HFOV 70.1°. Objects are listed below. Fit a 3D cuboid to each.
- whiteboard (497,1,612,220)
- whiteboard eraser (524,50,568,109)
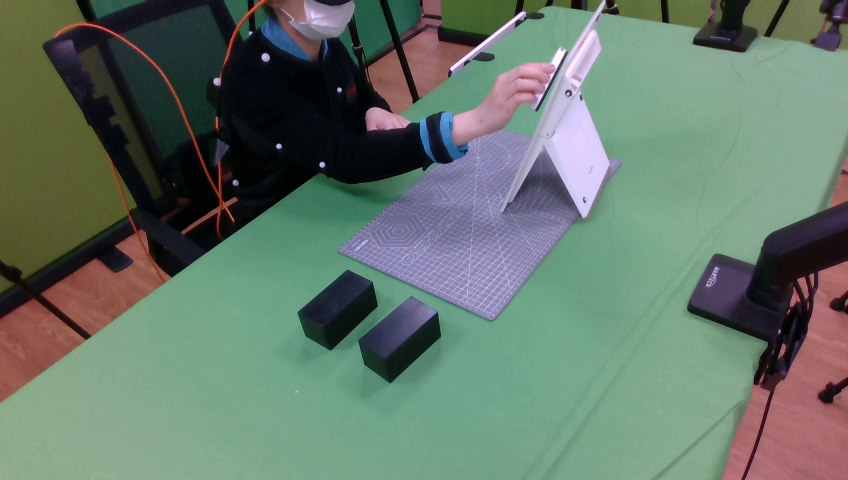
[{"bbox_3d":[0.259,-0.177,0.963,0.143,0.306,0.217,28,48,9],"label":"whiteboard"},{"bbox_3d":[0.186,-0.245,0.925,0.019,0.041,0.101,34,91,6],"label":"whiteboard eraser"}]
